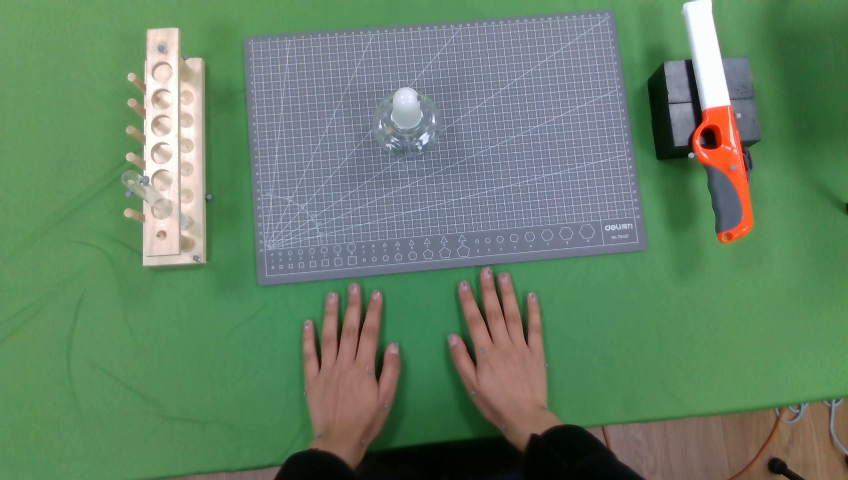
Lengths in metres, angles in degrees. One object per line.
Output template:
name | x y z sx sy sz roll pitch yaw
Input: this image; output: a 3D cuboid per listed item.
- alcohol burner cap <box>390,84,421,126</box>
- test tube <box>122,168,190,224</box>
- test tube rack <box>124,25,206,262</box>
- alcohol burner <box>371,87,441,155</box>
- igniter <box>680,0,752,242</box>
alcohol burner cap | -0.019 -0.142 0.625 0.034 0.048 0.033 1 75 -2
test tube | -0.264 -0.041 0.607 0.017 0.150 0.017 1 77 -3
test tube rack | -0.287 -0.101 0.664 0.067 0.085 0.241 -3 82 -2
alcohol burner | -0.020 -0.136 0.660 0.078 0.119 0.077 0 83 -1
igniter | 0.321 -0.135 0.669 0.057 0.025 0.275 -7 82 9
